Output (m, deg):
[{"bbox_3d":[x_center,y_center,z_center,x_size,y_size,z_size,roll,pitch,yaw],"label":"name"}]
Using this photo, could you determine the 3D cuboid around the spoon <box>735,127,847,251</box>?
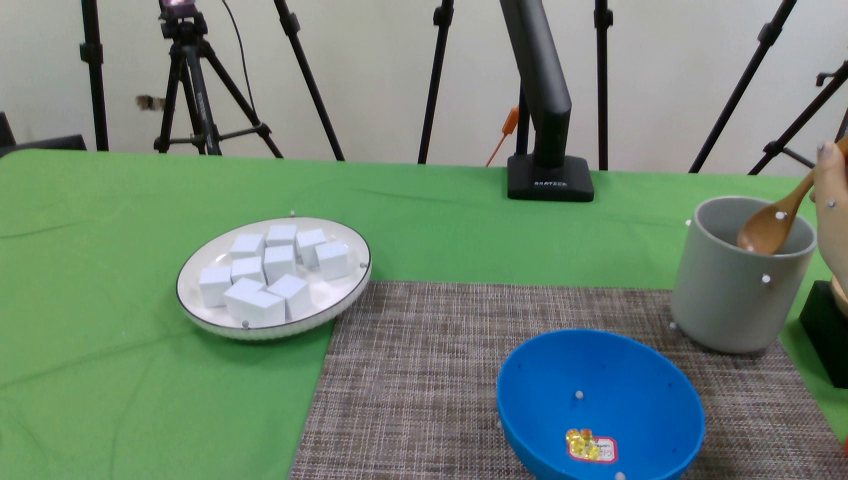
[{"bbox_3d":[0.297,-0.047,0.464,0.022,0.195,0.041,-1,58,-5],"label":"spoon"}]

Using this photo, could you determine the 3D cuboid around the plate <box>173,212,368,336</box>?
[{"bbox_3d":[-0.165,0.037,0.669,0.209,0.038,0.207,-1,34,1],"label":"plate"}]

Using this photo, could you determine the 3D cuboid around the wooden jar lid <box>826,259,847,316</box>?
[{"bbox_3d":[0.436,0.055,0.567,0.108,0.021,0.107,-1,34,1],"label":"wooden jar lid"}]

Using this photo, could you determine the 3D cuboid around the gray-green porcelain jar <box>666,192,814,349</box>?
[{"bbox_3d":[0.298,0.034,0.588,0.106,0.127,0.105,0,35,1],"label":"gray-green porcelain jar"}]

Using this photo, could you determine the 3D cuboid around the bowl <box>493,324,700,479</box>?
[{"bbox_3d":[0.126,0.144,0.471,0.151,0.077,0.150,0,34,0],"label":"bowl"}]
